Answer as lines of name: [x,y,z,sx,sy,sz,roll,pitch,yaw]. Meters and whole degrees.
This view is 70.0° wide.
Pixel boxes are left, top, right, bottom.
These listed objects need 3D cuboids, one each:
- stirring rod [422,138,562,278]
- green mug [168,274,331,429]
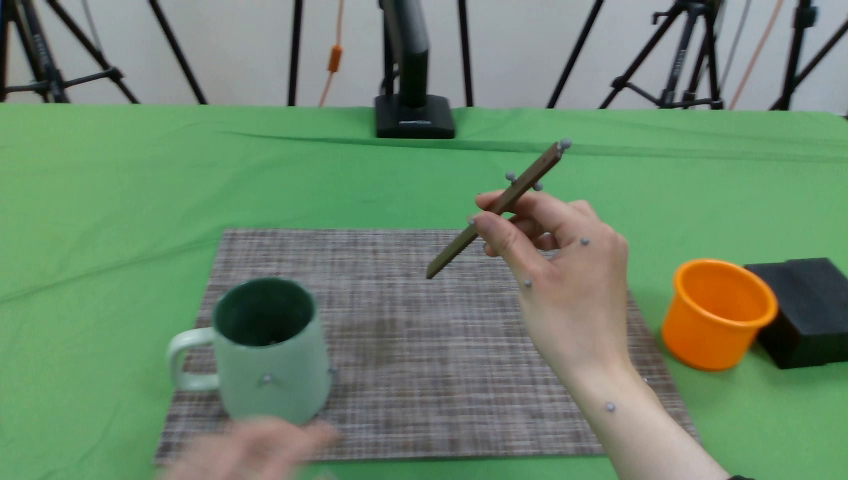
stirring rod: [0.038,-0.014,0.407,0.006,0.176,0.014,20,56,-17]
green mug: [-0.141,0.094,0.493,0.125,0.106,0.091,-7,41,-13]
